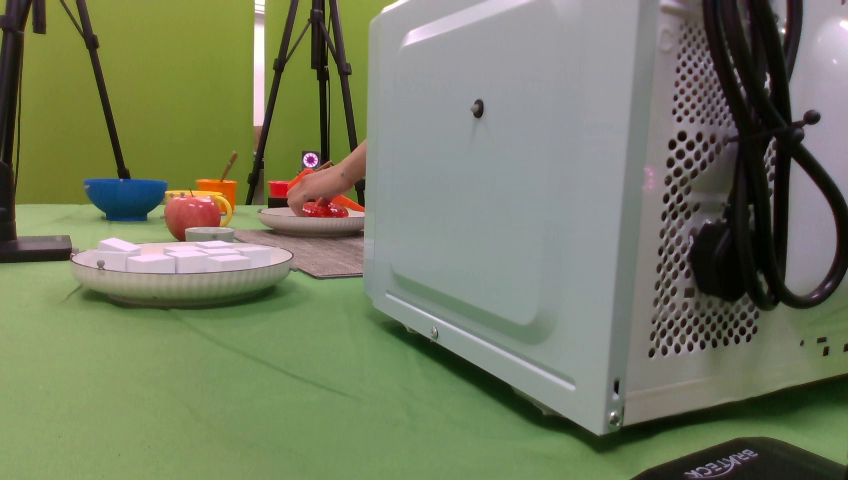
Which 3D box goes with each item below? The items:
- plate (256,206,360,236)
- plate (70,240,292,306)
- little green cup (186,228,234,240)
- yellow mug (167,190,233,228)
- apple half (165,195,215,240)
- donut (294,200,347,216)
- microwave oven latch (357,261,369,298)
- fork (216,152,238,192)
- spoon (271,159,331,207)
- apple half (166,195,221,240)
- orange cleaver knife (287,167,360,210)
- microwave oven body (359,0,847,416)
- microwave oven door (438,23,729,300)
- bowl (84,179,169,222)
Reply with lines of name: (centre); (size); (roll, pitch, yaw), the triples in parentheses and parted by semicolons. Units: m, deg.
plate: (-0.202, -0.036, 1.120); (0.209, 0.038, 0.209); (2, 8, 0)
plate: (-0.242, 0.031, 0.618); (0.208, 0.039, 0.207); (2, 8, 0)
little green cup: (-0.284, 0.005, 0.805); (0.061, 0.038, 0.061); (3, 8, 0)
yellow mug: (-0.415, -0.057, 1.132); (0.130, 0.064, 0.100); (6, 8, 16)
apple half: (-0.377, -0.038, 0.964); (0.082, 0.081, 0.032); (-4, 15, -39)
donut: (-0.193, -0.049, 1.133); (0.099, 0.048, 0.099); (4, 9, 0)
microwave oven latch: (-0.019, 0.033, 0.530); (0.079, 0.029, 0.030); (-1, 7, -26)
fork: (-0.455, -0.132, 1.366); (0.028, 0.018, 0.207); (-2, -35, -37)
spoon: (-0.308, -0.141, 1.513); (0.193, 0.021, 0.041); (-42, 0, 8)
apple half: (-0.352, -0.031, 0.935); (0.081, 0.074, 0.053); (1, 11, -40)
orange cleaver knife: (-0.209, -0.089, 1.383); (0.212, 0.077, 0.012); (31, 4, -15)
microwave oven body: (0.211, -0.047, 0.474); (0.444, 0.260, 0.324); (-1, 7, -28)
microwave oven door: (0.181, -0.072, 0.620); (0.358, 0.243, 0.039); (-2, 8, -29)
bowl: (-0.584, -0.078, 1.194); (0.151, 0.077, 0.151); (3, 8, 0)
